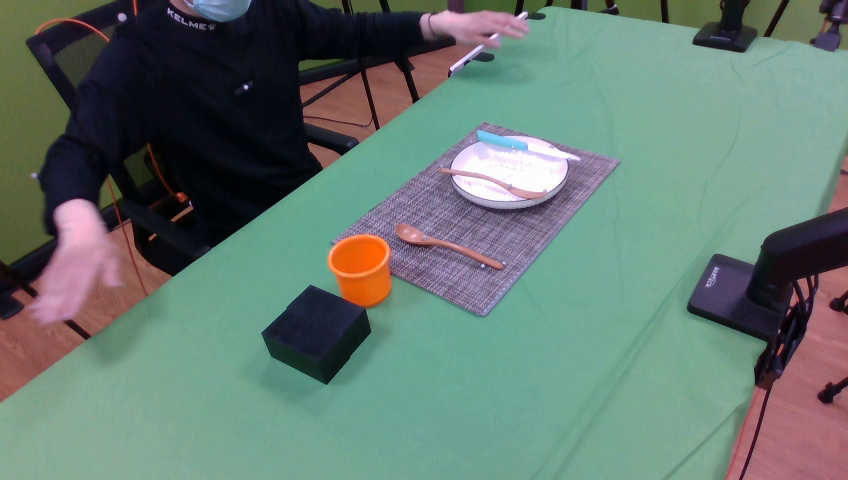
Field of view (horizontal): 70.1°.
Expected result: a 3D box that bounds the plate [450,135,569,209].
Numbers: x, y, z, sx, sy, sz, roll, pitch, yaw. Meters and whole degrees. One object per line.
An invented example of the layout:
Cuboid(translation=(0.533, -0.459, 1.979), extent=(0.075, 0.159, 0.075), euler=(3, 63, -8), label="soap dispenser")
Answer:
Cuboid(translation=(0.149, -0.117, 1.065), extent=(0.209, 0.038, 0.208), euler=(-3, 41, 3), label="plate")

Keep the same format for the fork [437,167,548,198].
Cuboid(translation=(0.110, -0.099, 1.017), extent=(0.206, 0.019, 0.028), euler=(20, 38, 26), label="fork")

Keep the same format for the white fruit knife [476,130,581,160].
Cuboid(translation=(0.184, -0.170, 1.089), extent=(0.206, 0.016, 0.027), euler=(18, 43, 25), label="white fruit knife")

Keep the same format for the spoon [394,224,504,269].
Cuboid(translation=(0.037, 0.010, 0.945), extent=(0.192, 0.022, 0.042), euler=(18, 29, 26), label="spoon")
